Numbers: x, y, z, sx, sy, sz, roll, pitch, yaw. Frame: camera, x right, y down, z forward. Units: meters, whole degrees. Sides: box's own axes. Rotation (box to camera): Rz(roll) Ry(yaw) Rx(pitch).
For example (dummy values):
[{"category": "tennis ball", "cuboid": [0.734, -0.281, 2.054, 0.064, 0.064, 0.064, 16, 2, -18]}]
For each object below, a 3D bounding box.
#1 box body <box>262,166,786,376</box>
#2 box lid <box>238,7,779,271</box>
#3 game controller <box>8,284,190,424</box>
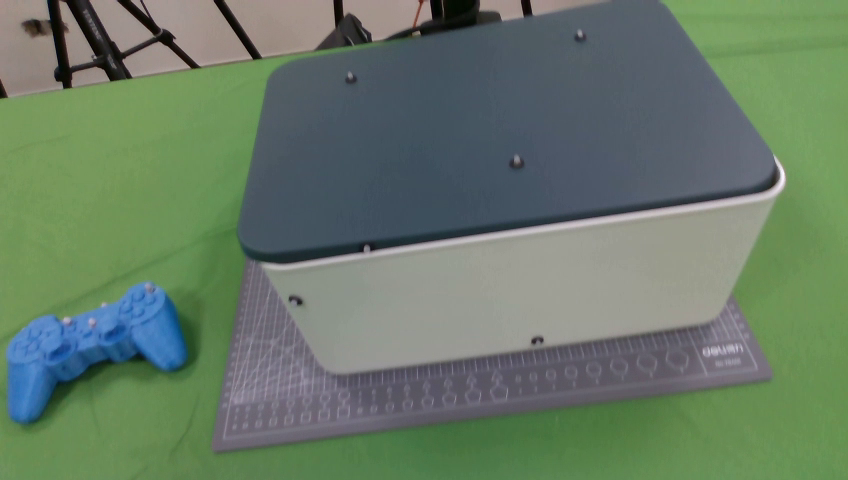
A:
[{"category": "box body", "cuboid": [0.063, -0.038, 0.532, 0.364, 0.162, 0.251, -8, 46, 2]}, {"category": "box lid", "cuboid": [0.044, -0.096, 0.482, 0.371, 0.015, 0.260, -9, 45, 2]}, {"category": "game controller", "cuboid": [-0.298, 0.095, 0.551, 0.155, 0.052, 0.096, -18, 43, -9]}]
